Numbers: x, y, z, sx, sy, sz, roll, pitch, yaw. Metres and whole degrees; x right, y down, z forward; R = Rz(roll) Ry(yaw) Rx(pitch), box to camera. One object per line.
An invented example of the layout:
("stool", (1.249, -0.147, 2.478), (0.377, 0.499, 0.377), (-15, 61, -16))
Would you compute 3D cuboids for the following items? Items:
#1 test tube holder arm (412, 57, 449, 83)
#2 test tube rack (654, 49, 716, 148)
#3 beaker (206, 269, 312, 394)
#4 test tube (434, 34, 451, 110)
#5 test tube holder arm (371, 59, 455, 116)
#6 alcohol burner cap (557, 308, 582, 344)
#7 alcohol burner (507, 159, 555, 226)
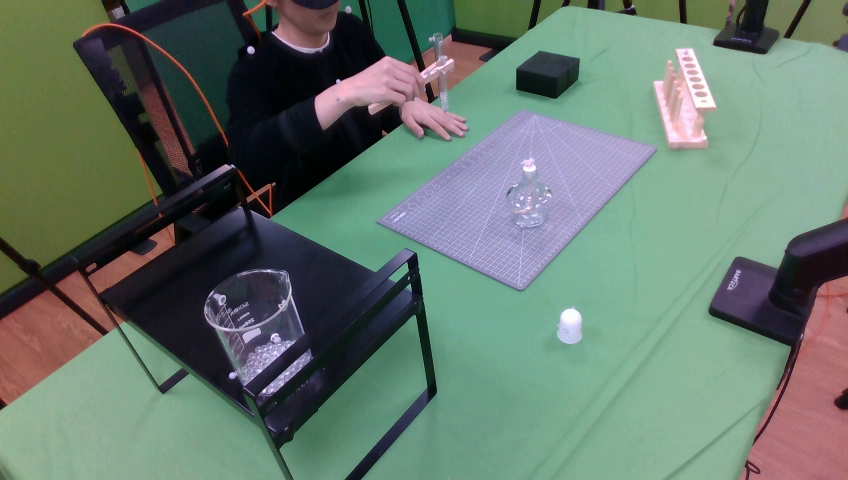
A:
("test tube holder arm", (0.012, -0.283, 1.023), (0.010, 0.015, 0.088), (29, 58, 31))
("test tube rack", (0.502, -0.281, 1.176), (0.066, 0.085, 0.241), (2, 41, 11))
("beaker", (-0.146, 0.086, 0.560), (0.073, 0.101, 0.084), (19, 46, 27))
("test tube", (0.033, -0.286, 1.041), (0.017, 0.151, 0.017), (-4, 51, 6))
("test tube holder arm", (-0.016, -0.255, 1.002), (0.179, 0.015, 0.013), (-37, 52, -22))
("alcohol burner cap", (0.194, 0.111, 0.802), (0.034, 0.048, 0.033), (-4, 39, 4))
("alcohol burner", (0.172, -0.081, 0.969), (0.078, 0.119, 0.077), (-4, 42, 4))
